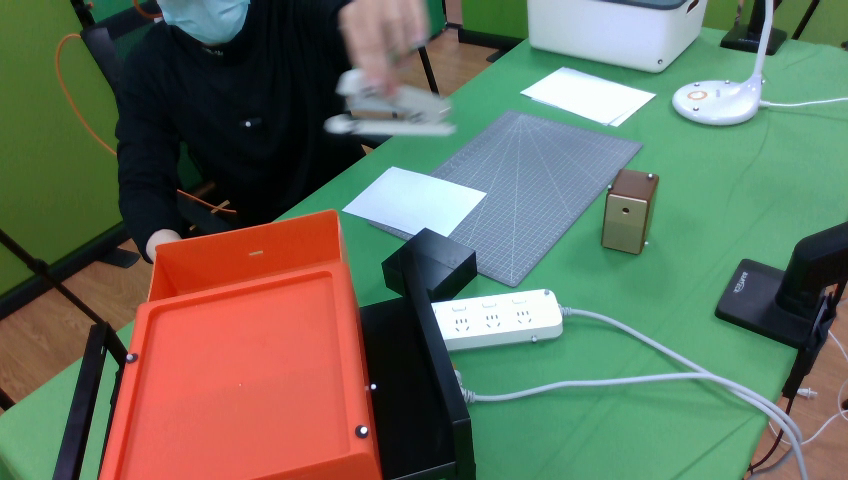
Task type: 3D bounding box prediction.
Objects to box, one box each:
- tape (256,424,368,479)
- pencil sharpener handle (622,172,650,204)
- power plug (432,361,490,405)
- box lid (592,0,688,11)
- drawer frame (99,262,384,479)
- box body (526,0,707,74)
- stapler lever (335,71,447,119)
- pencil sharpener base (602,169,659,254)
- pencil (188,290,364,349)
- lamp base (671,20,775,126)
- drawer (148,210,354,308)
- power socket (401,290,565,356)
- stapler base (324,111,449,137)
[{"bbox_3d":[-0.121,0.263,0.659,0.117,0.053,0.116,-5,39,4],"label":"tape"},{"bbox_3d":[0.328,-0.086,0.940,0.036,0.068,0.030,29,49,8],"label":"pencil sharpener handle"},{"bbox_3d":[0.044,0.182,0.759,0.073,0.035,0.052,25,42,-20],"label":"power plug"},{"bbox_3d":[0.441,-0.596,1.383,0.368,0.015,0.264,24,49,31],"label":"box lid"},{"bbox_3d":[-0.147,0.130,0.518,0.202,0.083,0.212,-12,41,-6],"label":"drawer frame"},{"bbox_3d":[0.450,-0.540,1.430,0.361,0.161,0.255,24,50,31],"label":"box body"},{"bbox_3d":[-0.033,-0.149,0.625,0.119,0.040,0.026,0,26,-21],"label":"stapler lever"},{"bbox_3d":[0.312,-0.044,0.914,0.061,0.107,0.077,14,45,24],"label":"pencil sharpener base"},{"bbox_3d":[-0.153,0.079,0.613,0.193,0.012,0.012,16,44,9],"label":"pencil"},{"bbox_3d":[0.582,-0.332,1.153,0.179,0.181,0.160,2,42,7],"label":"lamp base"},{"bbox_3d":[-0.167,0.075,0.590,0.195,0.073,0.210,-11,41,-5],"label":"drawer"},{"bbox_3d":[0.080,0.112,0.822,0.227,0.033,0.072,-6,41,0],"label":"power socket"},{"bbox_3d":[-0.038,-0.126,0.634,0.131,0.024,0.041,-1,26,-21],"label":"stapler base"}]
